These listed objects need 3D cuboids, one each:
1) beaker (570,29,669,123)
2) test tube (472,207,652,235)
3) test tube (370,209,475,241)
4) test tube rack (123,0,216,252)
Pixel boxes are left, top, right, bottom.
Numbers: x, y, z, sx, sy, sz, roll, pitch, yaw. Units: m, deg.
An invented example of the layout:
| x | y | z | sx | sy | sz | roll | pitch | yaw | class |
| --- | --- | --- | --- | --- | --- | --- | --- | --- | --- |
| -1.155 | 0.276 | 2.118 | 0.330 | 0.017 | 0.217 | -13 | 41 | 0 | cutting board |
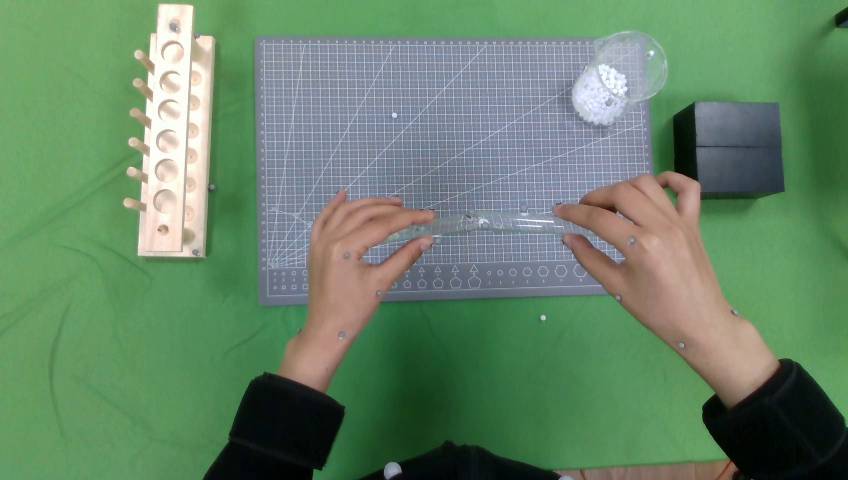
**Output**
| x | y | z | sx | sy | sz | roll | pitch | yaw | class |
| --- | --- | --- | --- | --- | --- | --- | --- | --- | --- |
| 0.203 | -0.174 | 0.657 | 0.084 | 0.100 | 0.074 | 36 | 83 | 1 | beaker |
| 0.112 | -0.015 | 0.486 | 0.150 | 0.017 | 0.017 | 3 | 85 | -10 | test tube |
| -0.007 | -0.012 | 0.539 | 0.017 | 0.150 | 0.017 | 3 | 84 | -35 | test tube |
| -0.263 | -0.112 | 0.620 | 0.067 | 0.085 | 0.242 | 2 | 85 | -4 | test tube rack |
